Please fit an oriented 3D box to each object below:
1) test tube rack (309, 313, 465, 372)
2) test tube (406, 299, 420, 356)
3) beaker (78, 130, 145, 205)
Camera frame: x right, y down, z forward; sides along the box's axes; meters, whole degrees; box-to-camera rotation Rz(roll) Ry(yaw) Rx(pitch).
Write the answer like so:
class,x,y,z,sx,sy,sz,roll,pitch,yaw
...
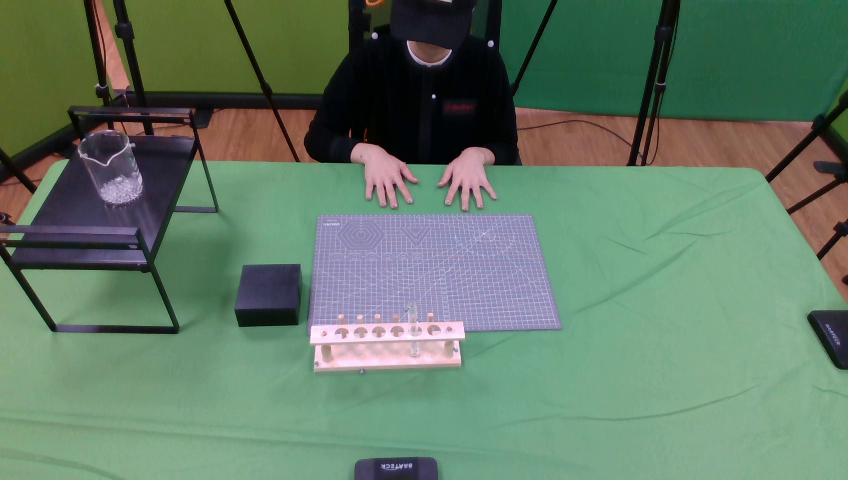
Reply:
class,x,y,z,sx,sy,sz,roll,pitch,yaw
test tube rack,-0.059,0.161,0.990,0.242,0.085,0.066,-1,46,-5
test tube,-0.017,0.139,0.944,0.017,0.151,0.017,-1,50,1
beaker,-0.493,-0.111,0.965,0.074,0.101,0.083,-14,49,-16
